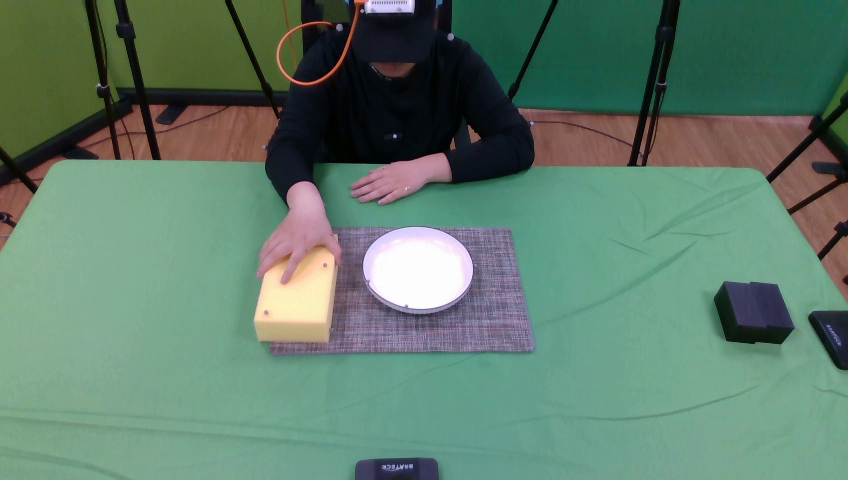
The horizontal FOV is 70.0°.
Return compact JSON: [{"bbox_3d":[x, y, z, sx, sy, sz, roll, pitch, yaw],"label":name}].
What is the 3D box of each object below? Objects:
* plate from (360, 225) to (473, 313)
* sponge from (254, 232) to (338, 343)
[{"bbox_3d":[-0.014,0.057,1.127,0.208,0.039,0.206,2,46,-2],"label":"plate"},{"bbox_3d":[-0.221,0.080,1.074,0.118,0.061,0.205,1,46,-3],"label":"sponge"}]
